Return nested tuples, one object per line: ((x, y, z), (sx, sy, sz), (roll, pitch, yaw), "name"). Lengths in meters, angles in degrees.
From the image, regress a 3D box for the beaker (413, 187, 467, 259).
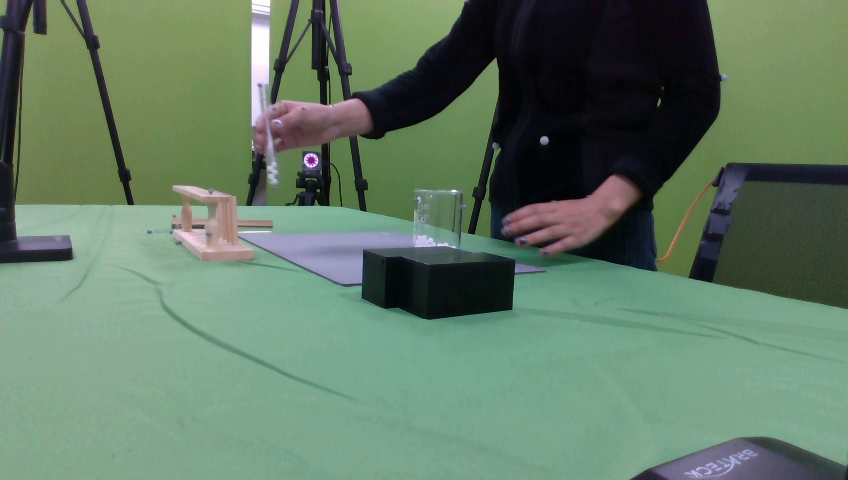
((0.019, -0.026, 0.878), (0.074, 0.100, 0.083), (-1, 7, -27), "beaker")

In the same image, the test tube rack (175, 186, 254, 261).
((-0.314, -0.031, 0.889), (0.067, 0.085, 0.241), (-2, 8, -30), "test tube rack")

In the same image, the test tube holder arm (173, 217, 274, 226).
((-0.371, -0.033, 1.127), (0.179, 0.015, 0.013), (-1, -22, -25), "test tube holder arm")

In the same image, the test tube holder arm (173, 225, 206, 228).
((-0.414, -0.030, 1.113), (0.088, 0.015, 0.010), (-1, -22, -25), "test tube holder arm")

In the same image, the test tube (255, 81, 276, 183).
((-0.231, -0.157, 0.884), (0.017, 0.150, 0.017), (-6, -2, 0), "test tube")

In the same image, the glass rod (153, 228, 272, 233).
((-0.368, -0.017, 1.065), (0.201, 0.008, 0.008), (-1, 8, -27), "glass rod")
